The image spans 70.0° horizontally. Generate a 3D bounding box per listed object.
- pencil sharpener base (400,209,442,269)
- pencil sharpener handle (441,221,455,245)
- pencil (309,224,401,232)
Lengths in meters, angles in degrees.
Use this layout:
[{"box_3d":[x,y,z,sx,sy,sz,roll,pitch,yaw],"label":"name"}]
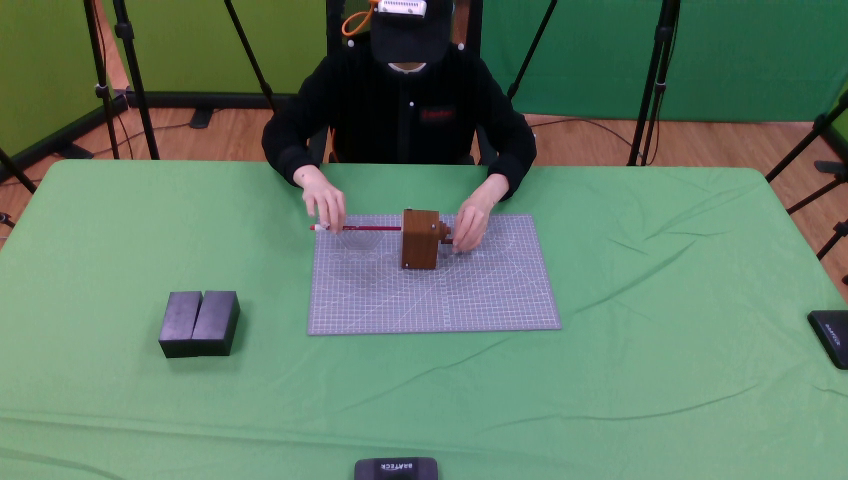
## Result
[{"box_3d":[-0.006,0.000,1.134,0.077,0.107,0.061,2,45,-2],"label":"pencil sharpener base"},{"box_3d":[0.046,-0.010,1.130,0.030,0.068,0.036,2,61,-2],"label":"pencil sharpener handle"},{"box_3d":[-0.112,-0.021,1.108,0.194,0.012,0.012,1,46,-4],"label":"pencil"}]
